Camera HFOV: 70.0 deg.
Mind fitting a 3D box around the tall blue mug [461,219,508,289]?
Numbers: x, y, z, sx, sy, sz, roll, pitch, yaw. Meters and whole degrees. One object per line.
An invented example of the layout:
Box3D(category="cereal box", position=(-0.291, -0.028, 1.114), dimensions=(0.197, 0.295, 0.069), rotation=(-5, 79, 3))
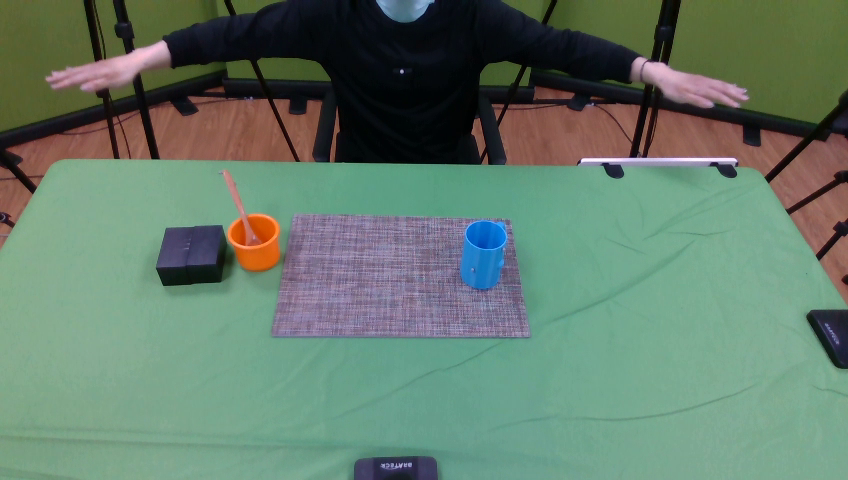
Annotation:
Box3D(category="tall blue mug", position=(0.111, 0.016, 1.122), dimensions=(0.078, 0.108, 0.106), rotation=(6, 46, 4))

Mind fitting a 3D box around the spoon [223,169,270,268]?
Box3D(category="spoon", position=(-0.333, -0.040, 1.124), dimensions=(0.041, 0.194, 0.021), rotation=(-20, 7, -17))
